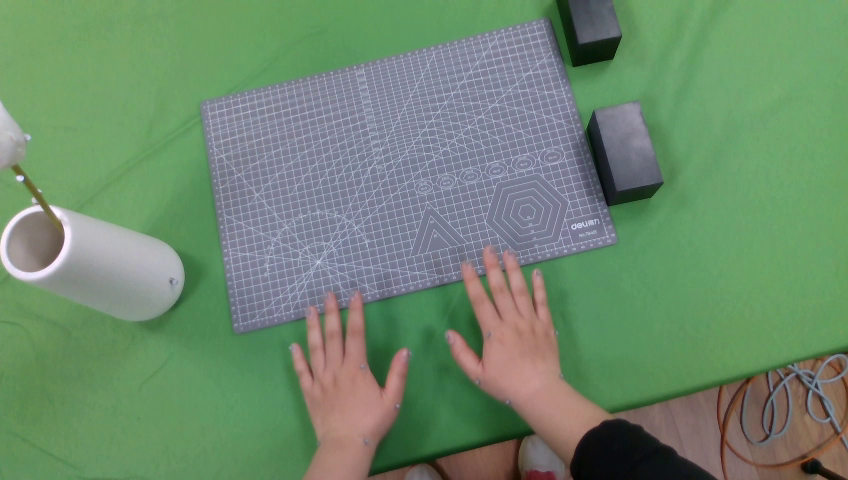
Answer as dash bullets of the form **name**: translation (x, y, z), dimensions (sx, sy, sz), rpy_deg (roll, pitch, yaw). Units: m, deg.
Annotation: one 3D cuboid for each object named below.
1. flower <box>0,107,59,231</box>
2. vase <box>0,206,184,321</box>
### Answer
- **flower**: translation (-0.324, -0.006, 0.545), dimensions (0.038, 0.364, 0.043), rpy_deg (-28, 70, -21)
- **vase**: translation (-0.330, 0.026, 0.622), dimensions (0.098, 0.201, 0.097), rpy_deg (-1, 75, 4)
